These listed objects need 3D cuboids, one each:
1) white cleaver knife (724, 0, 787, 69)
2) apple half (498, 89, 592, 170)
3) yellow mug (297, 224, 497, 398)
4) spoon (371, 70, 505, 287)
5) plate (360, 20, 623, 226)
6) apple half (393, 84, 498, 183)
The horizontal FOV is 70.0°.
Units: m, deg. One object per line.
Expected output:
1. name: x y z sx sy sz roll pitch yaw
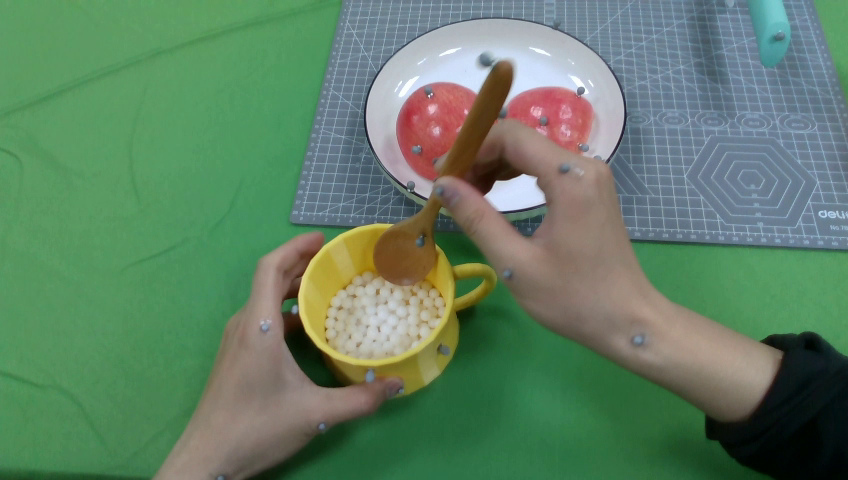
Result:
1. white cleaver knife: 0.287 -0.254 0.555 0.021 0.066 0.284 1 56 10
2. apple half: 0.097 -0.098 0.486 0.081 0.033 0.080 -2 62 3
3. yellow mug: -0.013 0.043 0.405 0.131 0.064 0.099 -16 60 -7
4. spoon: 0.006 -0.021 0.334 0.042 0.194 0.021 25 59 -4
5. plate: 0.053 -0.096 0.496 0.209 0.038 0.207 -2 60 3
6. apple half: 0.015 -0.092 0.477 0.081 0.054 0.074 -35 61 -15
